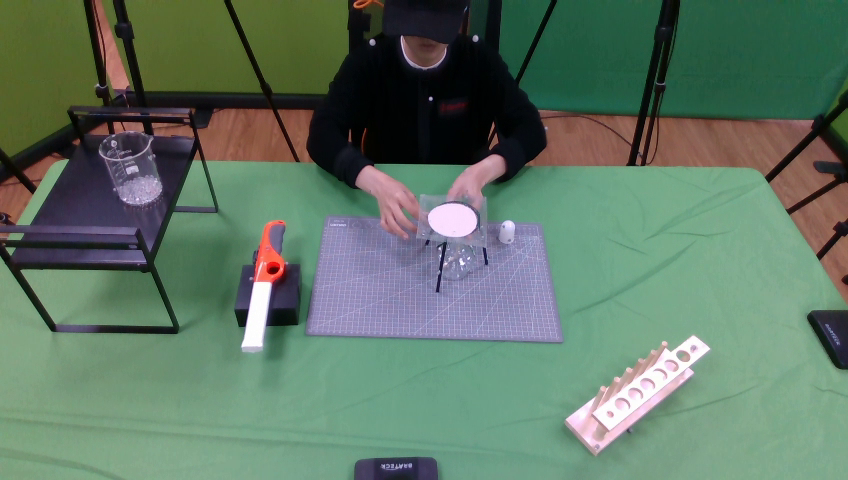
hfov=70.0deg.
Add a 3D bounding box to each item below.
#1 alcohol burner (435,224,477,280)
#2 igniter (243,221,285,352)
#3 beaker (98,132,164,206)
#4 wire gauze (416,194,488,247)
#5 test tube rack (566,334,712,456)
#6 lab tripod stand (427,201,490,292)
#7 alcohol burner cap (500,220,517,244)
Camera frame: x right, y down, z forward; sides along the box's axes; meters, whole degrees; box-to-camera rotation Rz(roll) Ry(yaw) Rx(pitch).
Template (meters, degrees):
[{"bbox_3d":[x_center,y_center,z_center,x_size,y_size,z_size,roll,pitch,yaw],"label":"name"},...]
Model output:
[{"bbox_3d":[0.060,0.017,1.114,0.078,0.119,0.077,3,44,-2],"label":"alcohol burner"},{"bbox_3d":[-0.273,0.069,1.041,0.057,0.025,0.274,2,48,-5],"label":"igniter"},{"bbox_3d":[-0.460,-0.112,0.968,0.073,0.101,0.084,37,54,28],"label":"beaker"},{"bbox_3d":[0.050,-0.039,1.060,0.125,0.011,0.121,4,46,3],"label":"wire gauze"},{"bbox_3d":[0.339,0.228,0.950,0.242,0.085,0.066,-26,52,-26],"label":"test tube rack"},{"bbox_3d":[0.053,0.003,1.114,0.148,0.132,0.147,0,46,0],"label":"lab tripod stand"},{"bbox_3d":[0.170,-0.018,1.205,0.034,0.048,0.033,1,47,-1],"label":"alcohol burner cap"}]
